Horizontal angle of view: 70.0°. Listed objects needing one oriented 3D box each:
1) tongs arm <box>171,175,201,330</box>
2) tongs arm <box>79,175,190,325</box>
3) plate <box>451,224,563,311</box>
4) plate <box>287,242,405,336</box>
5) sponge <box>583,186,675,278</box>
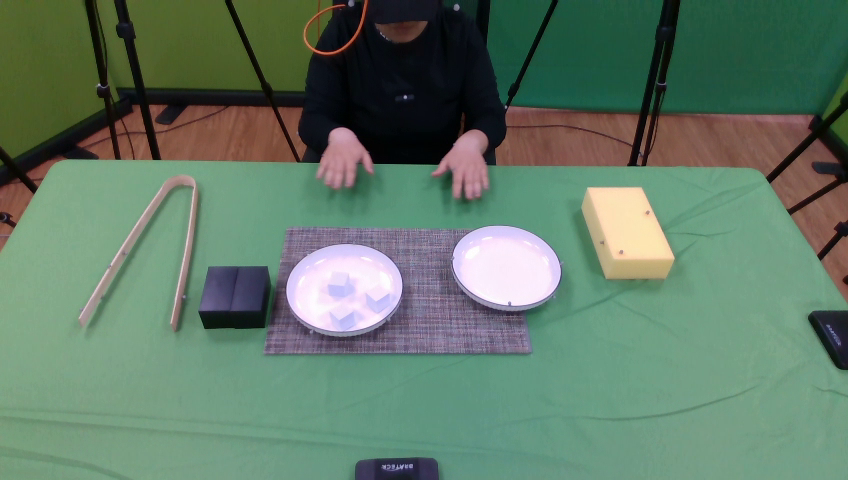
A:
[{"bbox_3d":[-0.453,0.010,1.151,0.028,0.028,0.385,-6,47,-6],"label":"tongs arm"},{"bbox_3d":[-0.534,0.004,1.145,0.051,0.026,0.382,6,45,1],"label":"tongs arm"},{"bbox_3d":[0.154,0.053,1.140,0.209,0.038,0.208,2,46,-2],"label":"plate"},{"bbox_3d":[-0.138,0.090,1.084,0.208,0.039,0.206,2,46,-2],"label":"plate"},{"bbox_3d":[0.404,-0.020,1.215,0.118,0.061,0.205,-2,46,-4],"label":"sponge"}]
